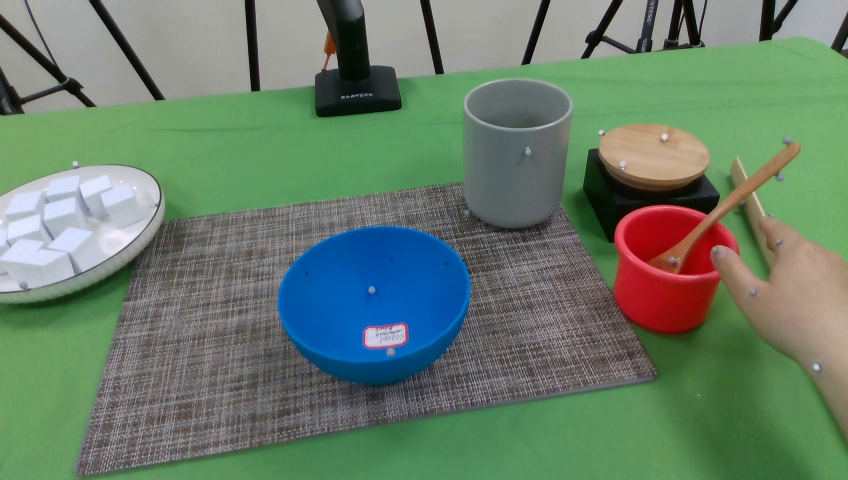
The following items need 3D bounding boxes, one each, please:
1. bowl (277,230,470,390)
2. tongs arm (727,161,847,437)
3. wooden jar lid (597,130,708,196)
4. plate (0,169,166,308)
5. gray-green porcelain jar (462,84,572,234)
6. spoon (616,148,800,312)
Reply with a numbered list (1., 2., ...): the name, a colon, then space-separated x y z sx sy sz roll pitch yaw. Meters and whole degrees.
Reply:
1. bowl: -0.037 0.068 0.493 0.151 0.077 0.150 -1 40 2
2. tongs arm: 0.335 0.044 0.546 0.028 0.028 0.384 3 41 4
3. wooden jar lid: 0.233 -0.079 0.625 0.108 0.021 0.107 -2 40 2
4. plate: -0.373 -0.002 0.630 0.209 0.038 0.207 -2 40 2
5. gray-green porcelain jar: 0.092 -0.079 0.622 0.106 0.127 0.105 -2 40 2
6. spoon: 0.243 -0.007 0.520 0.022 0.194 0.041 31 19 -34
